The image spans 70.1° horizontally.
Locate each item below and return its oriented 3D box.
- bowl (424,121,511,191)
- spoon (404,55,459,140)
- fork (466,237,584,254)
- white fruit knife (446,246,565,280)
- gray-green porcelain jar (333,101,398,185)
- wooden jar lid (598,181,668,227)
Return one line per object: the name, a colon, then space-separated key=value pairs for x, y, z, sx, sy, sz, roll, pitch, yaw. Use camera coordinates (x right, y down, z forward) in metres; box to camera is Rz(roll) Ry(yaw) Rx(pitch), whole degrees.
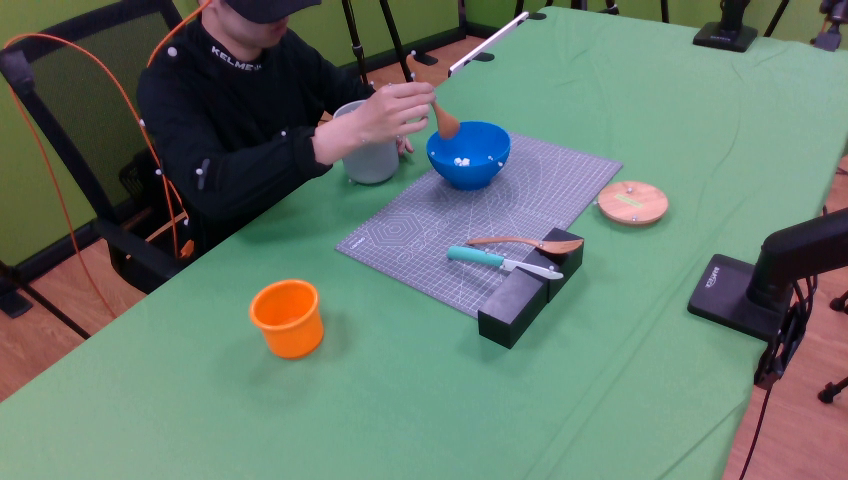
bowl: x=0.080 y=-0.140 z=1.074 sx=0.151 sy=0.077 sz=0.150 roll=-4 pitch=40 yaw=4
spoon: x=0.010 y=-0.220 z=0.950 sx=0.041 sy=0.195 sz=0.021 roll=-37 pitch=50 yaw=4
fork: x=0.142 y=0.005 z=0.894 sx=0.205 sy=0.019 sz=0.028 roll=4 pitch=43 yaw=41
white fruit knife: x=0.111 y=0.033 z=0.868 sx=0.205 sy=0.027 sz=0.016 roll=11 pitch=44 yaw=40
gray-green porcelain jar: x=-0.104 y=-0.174 z=1.108 sx=0.106 sy=0.127 sz=0.105 roll=-4 pitch=40 yaw=4
wooden jar lid: x=0.340 y=-0.057 z=0.988 sx=0.108 sy=0.021 sz=0.108 roll=-5 pitch=41 yaw=5
